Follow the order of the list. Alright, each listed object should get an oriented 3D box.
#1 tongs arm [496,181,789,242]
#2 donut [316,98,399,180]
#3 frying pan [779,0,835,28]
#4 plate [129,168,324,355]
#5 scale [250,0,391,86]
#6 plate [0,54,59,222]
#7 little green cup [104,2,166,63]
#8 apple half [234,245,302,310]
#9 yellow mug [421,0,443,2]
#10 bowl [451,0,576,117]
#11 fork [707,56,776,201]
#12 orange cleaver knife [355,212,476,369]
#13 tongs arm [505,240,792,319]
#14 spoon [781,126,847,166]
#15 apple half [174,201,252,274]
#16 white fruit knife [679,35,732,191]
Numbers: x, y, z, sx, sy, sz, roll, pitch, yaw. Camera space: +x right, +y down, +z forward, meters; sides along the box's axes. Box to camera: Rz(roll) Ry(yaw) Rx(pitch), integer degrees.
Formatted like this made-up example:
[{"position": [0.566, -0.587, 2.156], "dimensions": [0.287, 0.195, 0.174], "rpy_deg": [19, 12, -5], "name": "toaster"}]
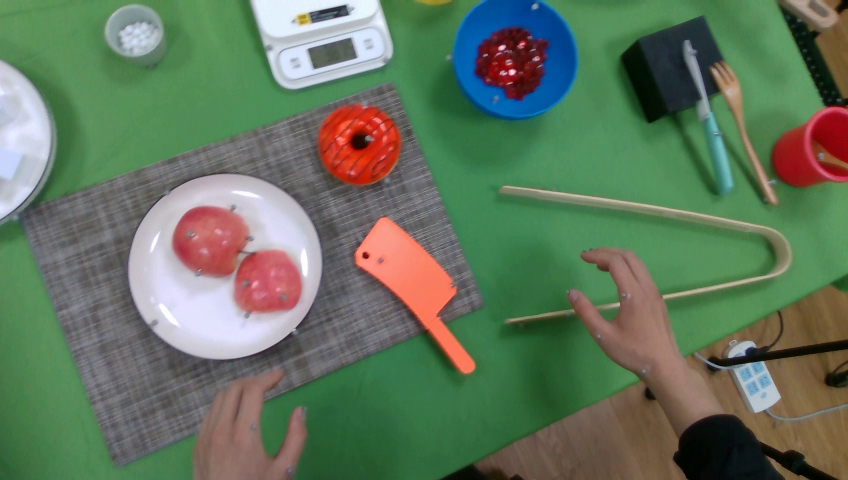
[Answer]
[{"position": [0.282, -0.039, 0.774], "dimensions": [0.388, 0.028, 0.028], "rpy_deg": [8, 74, -7], "name": "tongs arm"}, {"position": [-0.078, -0.120, 0.718], "dimensions": [0.099, 0.048, 0.099], "rpy_deg": [1, 85, -7], "name": "donut"}, {"position": [0.322, -0.427, 0.784], "dimensions": [0.487, 0.103, 0.306], "rpy_deg": [40, 81, 6], "name": "frying pan"}, {"position": [-0.218, 0.023, 0.685], "dimensions": [0.209, 0.038, 0.208], "rpy_deg": [1, 84, -8], "name": "plate"}, {"position": [-0.136, -0.299, 0.739], "dimensions": [0.149, 0.031, 0.200], "rpy_deg": [-18, 87, -9], "name": "scale"}, {"position": [-0.506, -0.108, 0.661], "dimensions": [0.208, 0.039, 0.207], "rpy_deg": [1, 83, -8], "name": "plate"}, {"position": [-0.331, -0.237, 0.701], "dimensions": [0.062, 0.038, 0.061], "rpy_deg": [1, 83, -8], "name": "little green cup"}, {"position": [-0.179, 0.042, 0.682], "dimensions": [0.081, 0.033, 0.081], "rpy_deg": [0, 87, -6], "name": "apple half"}, {"position": [-0.002, -0.367, 0.749], "dimensions": [0.131, 0.064, 0.100], "rpy_deg": [35, 81, -2], "name": "yellow mug"}, {"position": [0.100, -0.216, 0.742], "dimensions": [0.152, 0.077, 0.151], "rpy_deg": [1, 84, -8], "name": "bowl"}, {"position": [0.416, -0.142, 0.787], "dimensions": [0.028, 0.018, 0.208], "rpy_deg": [-32, 104, -13], "name": "fork"}, {"position": [0.002, 0.059, 0.723], "dimensions": [0.077, 0.012, 0.211], "rpy_deg": [-41, 89, -16], "name": "orange cleaver knife"}, {"position": [0.286, 0.047, 0.760], "dimensions": [0.385, 0.026, 0.050], "rpy_deg": [-7, 79, -9], "name": "tongs arm"}, {"position": [0.534, -0.092, 0.758], "dimensions": [0.041, 0.022, 0.191], "rpy_deg": [-28, 44, -11], "name": "spoon"}, {"position": [-0.236, -0.007, 0.670], "dimensions": [0.075, 0.053, 0.080], "rpy_deg": [28, 80, -1], "name": "apple half"}, {"position": [0.357, -0.160, 0.773], "dimensions": [0.016, 0.027, 0.208], "rpy_deg": [-24, 102, -10], "name": "white fruit knife"}]
